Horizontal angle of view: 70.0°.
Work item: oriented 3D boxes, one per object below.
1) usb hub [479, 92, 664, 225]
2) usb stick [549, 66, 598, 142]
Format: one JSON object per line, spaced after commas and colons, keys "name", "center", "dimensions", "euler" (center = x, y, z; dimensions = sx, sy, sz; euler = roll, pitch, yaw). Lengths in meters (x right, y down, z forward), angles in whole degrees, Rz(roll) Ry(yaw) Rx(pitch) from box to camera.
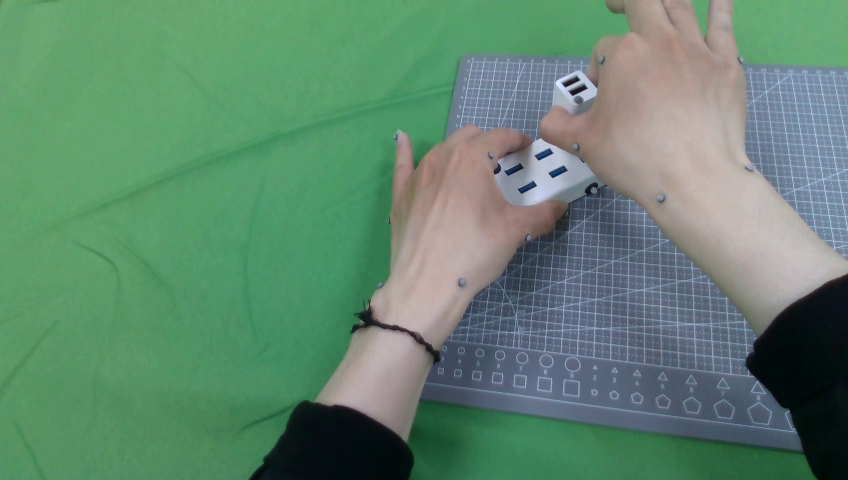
{"name": "usb hub", "center": [0.105, -0.060, 0.436], "dimensions": [0.125, 0.025, 0.049], "euler": [-27, 55, -7]}
{"name": "usb stick", "center": [0.102, -0.089, 0.420], "dimensions": [0.021, 0.060, 0.027], "euler": [-29, 59, -7]}
